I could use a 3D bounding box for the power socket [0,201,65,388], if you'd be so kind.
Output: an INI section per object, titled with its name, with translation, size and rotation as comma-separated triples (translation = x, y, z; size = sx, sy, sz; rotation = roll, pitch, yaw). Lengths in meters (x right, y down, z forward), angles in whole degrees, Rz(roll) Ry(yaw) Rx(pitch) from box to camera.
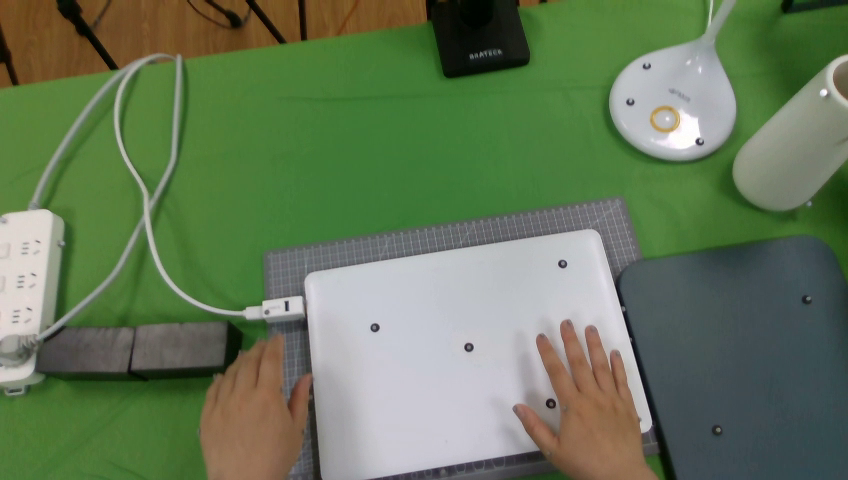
[power socket]
translation = -0.472, 0.056, 0.710
size = 0.072, 0.033, 0.225
rotation = -6, 68, -2

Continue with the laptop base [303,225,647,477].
[laptop base]
translation = 0.048, 0.116, 0.680
size = 0.354, 0.023, 0.234
rotation = -9, 72, -2

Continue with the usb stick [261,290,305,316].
[usb stick]
translation = -0.154, 0.071, 0.689
size = 0.059, 0.027, 0.021
rotation = -5, 68, -7

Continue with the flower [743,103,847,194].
[flower]
translation = 0.436, -0.149, 0.590
size = 0.038, 0.363, 0.043
rotation = 6, 58, -13

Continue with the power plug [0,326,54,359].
[power plug]
translation = -0.435, 0.114, 0.665
size = 0.072, 0.053, 0.035
rotation = 4, 68, 1

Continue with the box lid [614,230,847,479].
[box lid]
translation = 0.375, 0.169, 0.654
size = 0.263, 0.015, 0.368
rotation = -9, 69, -3

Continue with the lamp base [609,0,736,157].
[lamp base]
translation = 0.323, -0.219, 0.719
size = 0.160, 0.181, 0.178
rotation = 23, 68, 10

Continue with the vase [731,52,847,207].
[vase]
translation = 0.419, -0.115, 0.665
size = 0.098, 0.201, 0.097
rotation = -1, 67, 3

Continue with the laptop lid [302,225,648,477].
[laptop lid]
translation = 0.048, 0.114, 0.669
size = 0.357, 0.013, 0.240
rotation = -7, 71, -1
